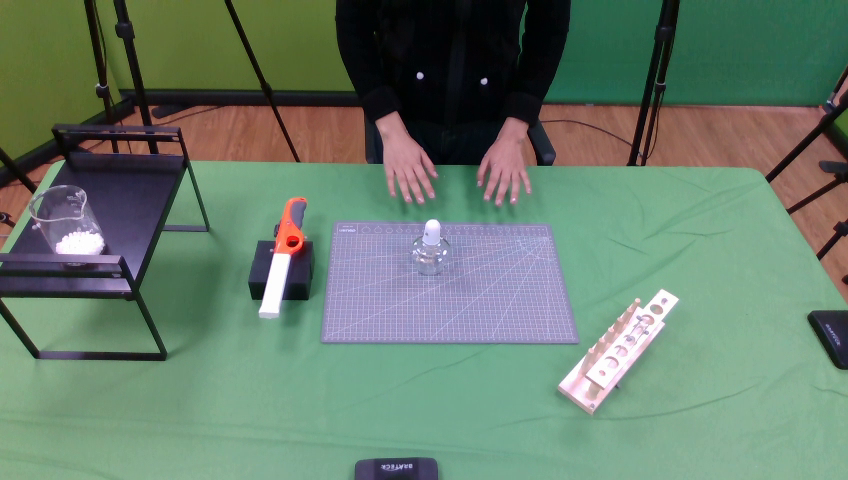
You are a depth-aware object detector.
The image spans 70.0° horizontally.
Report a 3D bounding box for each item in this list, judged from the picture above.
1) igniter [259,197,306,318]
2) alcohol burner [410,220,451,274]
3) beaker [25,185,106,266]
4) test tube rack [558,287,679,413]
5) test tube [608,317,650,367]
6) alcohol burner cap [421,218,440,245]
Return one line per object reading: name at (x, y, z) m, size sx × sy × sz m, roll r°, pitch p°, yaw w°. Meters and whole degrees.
igniter at (-0.252, 0.021, 1.088) m, size 0.057 × 0.025 × 0.275 m, roll 4°, pitch 48°, yaw -2°
alcohol burner at (0.013, 0.007, 1.120) m, size 0.078 × 0.120 × 0.077 m, roll 1°, pitch 48°, yaw -1°
beaker at (-0.507, -0.017, 0.872) m, size 0.084 × 0.101 × 0.074 m, roll 23°, pitch 49°, yaw 17°
test tube rack at (0.326, 0.170, 1.009) m, size 0.066 × 0.085 × 0.242 m, roll 36°, pitch 54°, yaw 27°
test tube at (0.314, 0.168, 0.942) m, size 0.017 × 0.151 × 0.017 m, roll 5°, pitch 48°, yaw -5°
alcohol burner cap at (0.013, -0.018, 1.095) m, size 0.034 × 0.048 × 0.033 m, roll 5°, pitch 44°, yaw -5°
